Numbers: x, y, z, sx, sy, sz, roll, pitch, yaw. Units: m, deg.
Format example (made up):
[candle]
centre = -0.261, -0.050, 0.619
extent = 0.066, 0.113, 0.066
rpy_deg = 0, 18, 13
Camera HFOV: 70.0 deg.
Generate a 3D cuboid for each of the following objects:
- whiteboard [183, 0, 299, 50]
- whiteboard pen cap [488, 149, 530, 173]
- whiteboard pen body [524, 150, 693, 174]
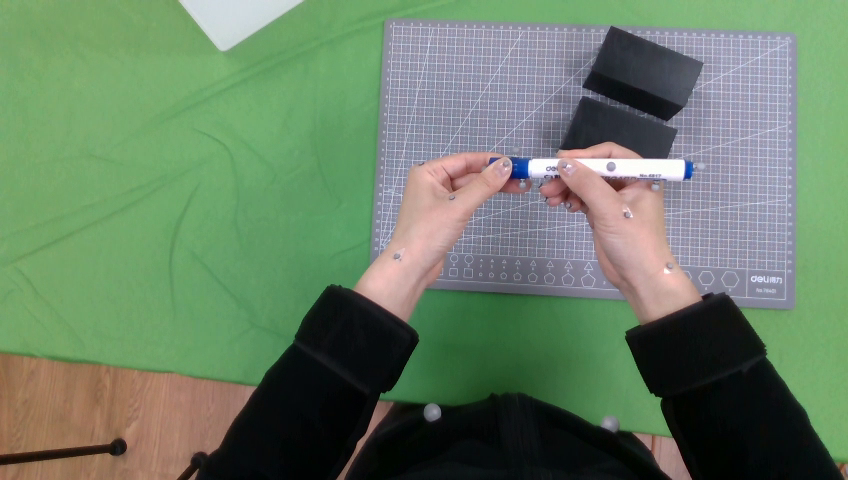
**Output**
[whiteboard]
centre = -0.206, -0.382, 0.576
extent = 0.217, 0.308, 0.142
rpy_deg = -32, 65, 0
[whiteboard pen cap]
centre = 0.067, -0.061, 0.471
extent = 0.033, 0.018, 0.018
rpy_deg = 3, 85, 10
[whiteboard pen body]
centre = 0.125, -0.059, 0.454
extent = 0.140, 0.017, 0.017
rpy_deg = 3, 85, 15
